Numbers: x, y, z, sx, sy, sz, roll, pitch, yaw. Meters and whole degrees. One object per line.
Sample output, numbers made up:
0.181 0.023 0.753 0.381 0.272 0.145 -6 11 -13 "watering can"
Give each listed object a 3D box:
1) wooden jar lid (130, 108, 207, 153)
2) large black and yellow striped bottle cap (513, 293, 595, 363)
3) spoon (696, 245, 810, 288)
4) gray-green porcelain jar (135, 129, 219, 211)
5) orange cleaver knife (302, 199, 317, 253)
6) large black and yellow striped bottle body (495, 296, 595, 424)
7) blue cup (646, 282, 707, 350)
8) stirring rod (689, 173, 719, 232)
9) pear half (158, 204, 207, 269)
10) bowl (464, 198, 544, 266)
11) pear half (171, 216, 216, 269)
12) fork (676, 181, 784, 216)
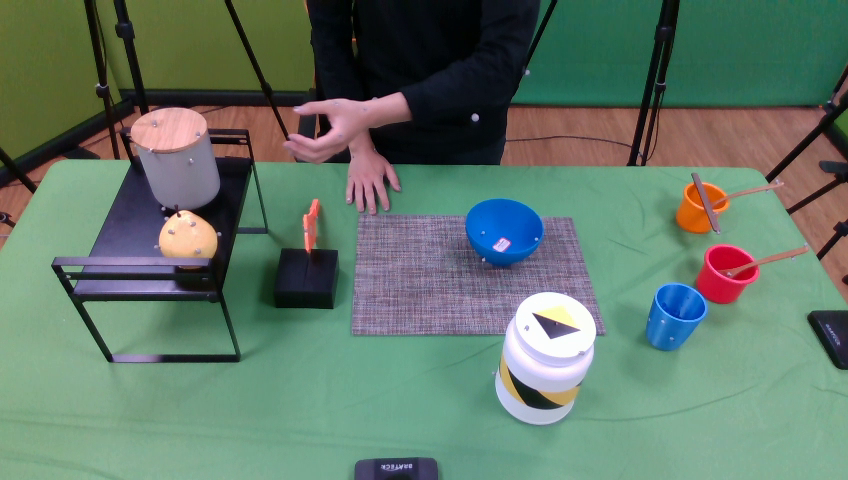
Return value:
-0.384 -0.162 0.914 0.108 0.021 0.107 4 46 -4 "wooden jar lid"
0.186 0.123 0.863 0.115 0.019 0.114 3 45 -3 "large black and yellow striped bottle cap"
0.601 0.047 1.114 0.193 0.022 0.041 -27 36 33 "spoon"
-0.386 -0.118 0.959 0.106 0.127 0.105 2 46 -2 "gray-green porcelain jar"
-0.219 -0.031 1.168 0.012 0.077 0.210 -5 17 -3 "orange cleaver knife"
0.183 0.182 0.924 0.131 0.185 0.130 2 46 -2 "large black and yellow striped bottle body"
0.425 0.136 1.042 0.092 0.101 0.092 1 44 -1 "blue cup"
0.566 -0.079 1.225 0.014 0.006 0.175 2 45 2 "stirring rod"
-0.352 -0.015 0.873 0.056 0.110 0.076 25 45 20 "pear half"
0.149 -0.003 1.168 0.151 0.077 0.150 2 46 -2 "bowl"
-0.323 0.007 0.867 0.031 0.088 0.070 25 46 20 "pear half"
0.618 -0.083 1.235 0.207 0.019 0.028 -23 21 38 "fork"
